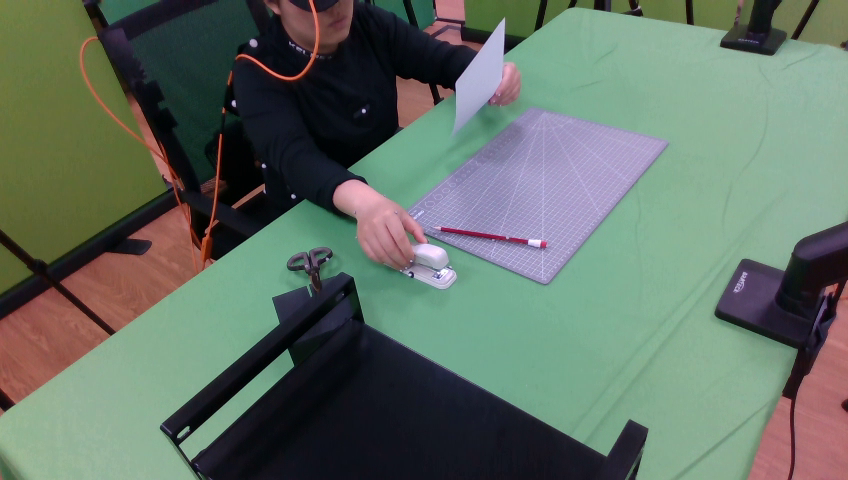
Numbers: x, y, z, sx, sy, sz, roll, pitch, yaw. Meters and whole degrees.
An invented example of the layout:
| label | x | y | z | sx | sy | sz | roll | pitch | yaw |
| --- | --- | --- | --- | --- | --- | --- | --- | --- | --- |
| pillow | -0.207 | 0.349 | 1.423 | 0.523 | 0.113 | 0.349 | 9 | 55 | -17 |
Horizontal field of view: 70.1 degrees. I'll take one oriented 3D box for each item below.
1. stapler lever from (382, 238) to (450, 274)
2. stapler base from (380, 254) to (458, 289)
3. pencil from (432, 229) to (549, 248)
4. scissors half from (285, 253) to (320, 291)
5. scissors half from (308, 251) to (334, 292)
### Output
| label | x | y | z | sx | sy | sz | roll | pitch | yaw |
| --- | --- | --- | --- | --- | --- | --- | --- | --- | --- |
| stapler lever | -0.014 | 0.018 | 0.919 | 0.117 | 0.040 | 0.027 | 21 | 45 | 31 |
| stapler base | -0.009 | 0.037 | 0.934 | 0.129 | 0.024 | 0.041 | 20 | 45 | 32 |
| pencil | 0.103 | -0.005 | 0.970 | 0.193 | 0.012 | 0.012 | 8 | 42 | 18 |
| scissors half | -0.179 | 0.049 | 0.909 | 0.040 | 0.013 | 0.174 | -15 | 19 | -20 |
| scissors half | -0.159 | 0.046 | 0.913 | 0.040 | 0.013 | 0.174 | -4 | 17 | -5 |
